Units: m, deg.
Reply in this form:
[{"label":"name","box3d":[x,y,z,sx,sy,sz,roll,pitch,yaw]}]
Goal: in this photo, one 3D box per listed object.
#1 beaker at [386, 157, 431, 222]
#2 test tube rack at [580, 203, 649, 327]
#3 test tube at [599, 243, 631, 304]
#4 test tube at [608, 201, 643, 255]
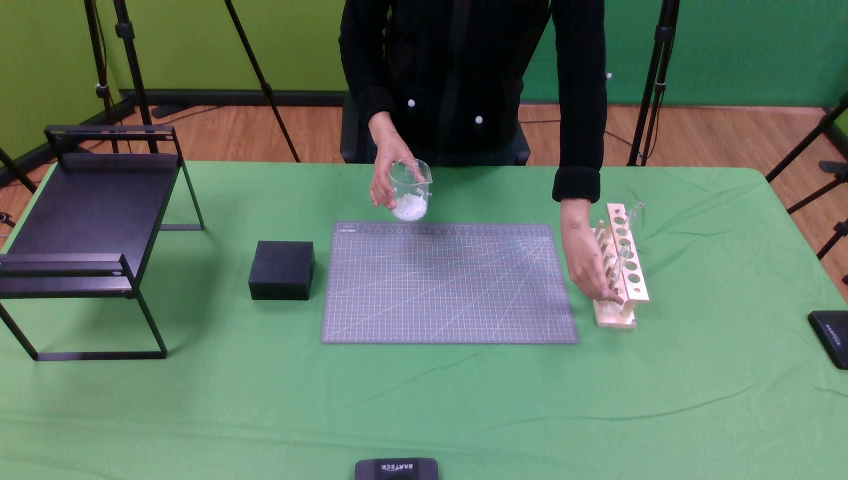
[{"label":"beaker","box3d":[-0.026,-0.088,1.104,0.084,0.101,0.074,21,51,15]},{"label":"test tube rack","box3d":[0.352,0.041,1.143,0.067,0.085,0.241,4,46,-1]},{"label":"test tube","box3d":[0.333,0.061,1.059,0.017,0.151,0.017,3,45,-3]},{"label":"test tube","box3d":[0.374,-0.019,1.133,0.017,0.151,0.017,3,52,-4]}]
